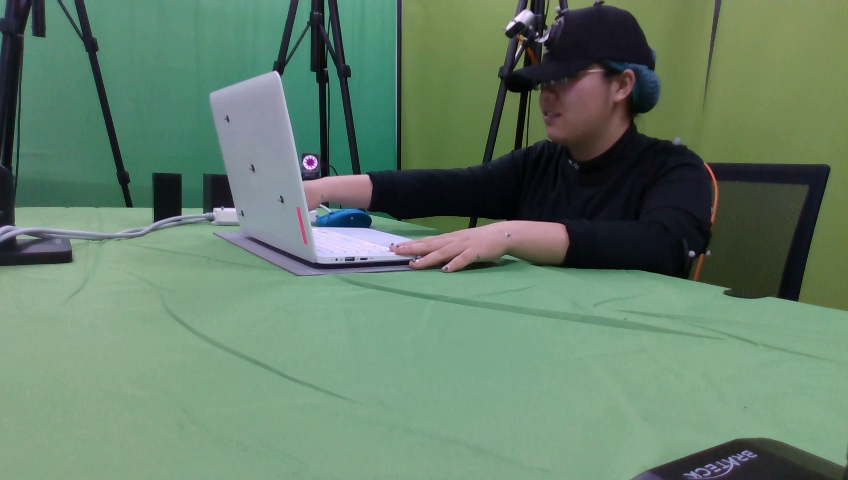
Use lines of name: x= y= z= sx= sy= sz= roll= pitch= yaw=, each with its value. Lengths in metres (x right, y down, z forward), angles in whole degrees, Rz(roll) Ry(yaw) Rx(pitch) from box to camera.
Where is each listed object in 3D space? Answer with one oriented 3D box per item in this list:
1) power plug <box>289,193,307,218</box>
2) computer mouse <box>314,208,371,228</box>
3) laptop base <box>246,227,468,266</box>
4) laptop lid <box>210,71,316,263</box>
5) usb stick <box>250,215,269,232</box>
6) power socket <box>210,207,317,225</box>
power plug: x=-0.281 y=-0.076 z=1.340 sx=0.035 sy=0.052 sz=0.072 roll=3 pitch=6 yaw=-17
computer mouse: x=-0.173 y=-0.047 z=1.284 sx=0.118 sy=0.041 sz=0.062 roll=-7 pitch=12 yaw=-30
laptop base: x=-0.123 y=0.008 z=0.951 sx=0.237 sy=0.023 sz=0.352 roll=2 pitch=6 yaw=-32
laptop lid: x=-0.241 y=-0.104 z=0.861 sx=0.013 sy=0.241 sz=0.355 roll=-16 pitch=17 yaw=-29
usb stick: x=-0.289 y=-0.028 z=1.070 sx=0.021 sy=0.027 sz=0.059 roll=-6 pitch=13 yaw=-29
power socket: x=-0.335 y=-0.051 z=1.281 sx=0.228 sy=0.032 sz=0.072 roll=-1 pitch=8 yaw=-28
